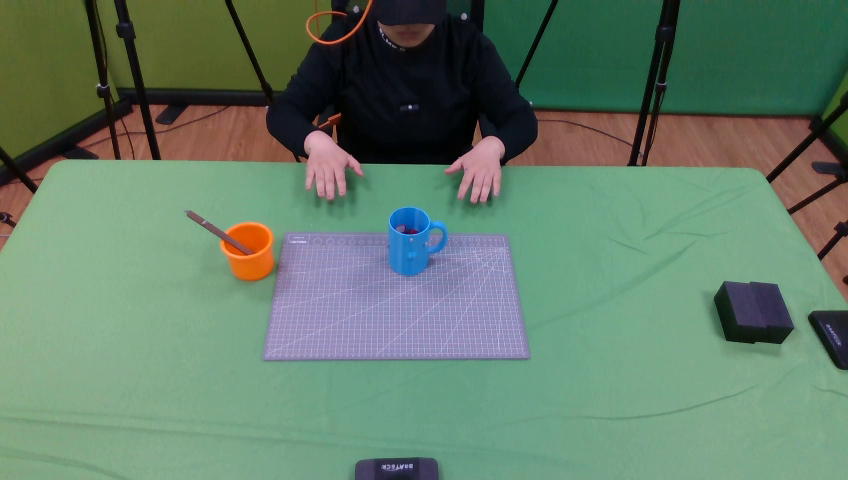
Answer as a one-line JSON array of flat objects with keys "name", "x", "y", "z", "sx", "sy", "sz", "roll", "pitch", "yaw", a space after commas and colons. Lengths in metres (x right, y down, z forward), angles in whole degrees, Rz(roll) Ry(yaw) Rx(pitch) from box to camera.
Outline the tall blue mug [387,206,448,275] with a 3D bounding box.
[{"name": "tall blue mug", "x": -0.018, "y": -0.004, "z": 1.138, "sx": 0.107, "sy": 0.108, "sz": 0.077, "roll": -30, "pitch": 54, "yaw": -29}]

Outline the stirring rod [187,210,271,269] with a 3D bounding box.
[{"name": "stirring rod", "x": -0.349, "y": 0.000, "z": 1.092, "sx": 0.177, "sy": 0.006, "sz": 0.014, "roll": 39, "pitch": 35, "yaw": -27}]
